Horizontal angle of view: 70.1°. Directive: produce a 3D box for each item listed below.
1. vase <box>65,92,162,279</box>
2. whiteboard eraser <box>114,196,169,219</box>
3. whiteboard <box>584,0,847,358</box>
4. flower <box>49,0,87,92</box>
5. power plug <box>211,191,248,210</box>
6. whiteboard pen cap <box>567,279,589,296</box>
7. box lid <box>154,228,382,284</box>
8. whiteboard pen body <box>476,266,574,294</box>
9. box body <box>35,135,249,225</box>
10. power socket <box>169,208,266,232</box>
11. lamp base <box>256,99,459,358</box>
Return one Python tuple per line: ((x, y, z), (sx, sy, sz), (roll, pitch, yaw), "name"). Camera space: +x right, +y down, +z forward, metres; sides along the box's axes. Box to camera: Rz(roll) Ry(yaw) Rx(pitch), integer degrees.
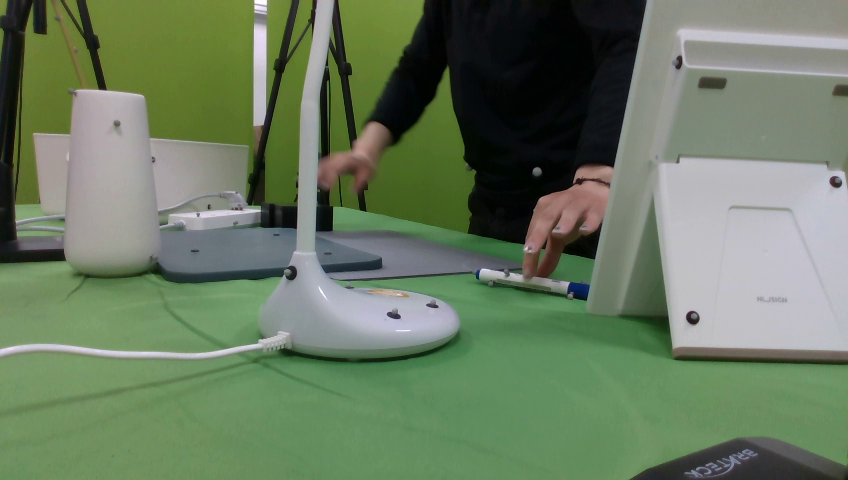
((-0.347, -0.060, 0.673), (0.098, 0.200, 0.098), (1, 7, 0), "vase")
((-0.546, -0.063, 1.174), (0.055, 0.042, 0.112), (5, 6, 3), "whiteboard eraser")
((0.269, -0.034, 0.466), (0.217, 0.305, 0.143), (2, 27, -1), "whiteboard")
((-0.361, -0.142, 0.659), (0.038, 0.361, 0.044), (-13, 11, 11), "flower")
((-0.384, -0.071, 1.206), (0.072, 0.052, 0.035), (1, 7, 27), "power plug")
((0.171, 0.052, 0.648), (0.033, 0.018, 0.018), (10, 11, 31), "whiteboard pen cap")
((-0.250, 0.014, 0.853), (0.265, 0.015, 0.369), (-3, 9, -32), "box lid")
((0.122, 0.046, 0.680), (0.140, 0.017, 0.017), (8, 10, 30), "whiteboard pen body")
((-0.561, -0.127, 1.258), (0.254, 0.160, 0.365), (4, 8, 13), "box body")
((-0.379, -0.038, 1.129), (0.072, 0.032, 0.227), (4, 8, 18), "power socket")
((-0.055, -0.013, 0.463), (0.160, 0.180, 0.180), (6, 11, 27), "lamp base")
